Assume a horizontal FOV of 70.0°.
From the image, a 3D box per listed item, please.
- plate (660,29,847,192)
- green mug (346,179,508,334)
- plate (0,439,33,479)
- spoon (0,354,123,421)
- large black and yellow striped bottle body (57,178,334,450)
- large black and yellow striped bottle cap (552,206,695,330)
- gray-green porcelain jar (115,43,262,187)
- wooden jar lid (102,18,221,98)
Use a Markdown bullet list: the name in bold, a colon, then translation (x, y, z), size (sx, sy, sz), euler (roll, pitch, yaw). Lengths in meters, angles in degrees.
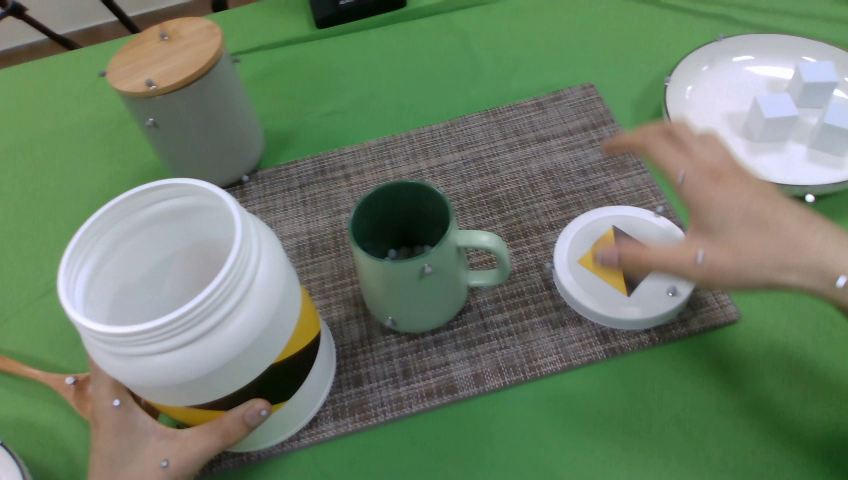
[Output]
- **plate**: translation (0.330, -0.121, 0.574), size (0.207, 0.039, 0.205), euler (-4, 54, 6)
- **green mug**: translation (0.004, 0.015, 0.479), size (0.125, 0.106, 0.092), euler (2, 55, 9)
- **plate**: translation (-0.367, 0.236, 0.420), size (0.209, 0.038, 0.207), euler (-4, 54, 5)
- **spoon**: translation (-0.330, 0.112, 0.512), size (0.193, 0.022, 0.041), euler (12, 73, 16)
- **large black and yellow striped bottle body**: translation (-0.146, 0.057, 0.420), size (0.130, 0.186, 0.129), euler (-4, 55, 6)
- **large black and yellow striped bottle cap**: translation (0.165, 0.020, 0.507), size (0.115, 0.019, 0.114), euler (-5, 54, 7)
- **gray-green porcelain jar**: translation (-0.225, -0.122, 0.596), size (0.106, 0.128, 0.105), euler (-5, 50, 6)
- **wooden jar lid**: translation (-0.233, -0.162, 0.547), size (0.108, 0.021, 0.107), euler (-6, 54, 8)
